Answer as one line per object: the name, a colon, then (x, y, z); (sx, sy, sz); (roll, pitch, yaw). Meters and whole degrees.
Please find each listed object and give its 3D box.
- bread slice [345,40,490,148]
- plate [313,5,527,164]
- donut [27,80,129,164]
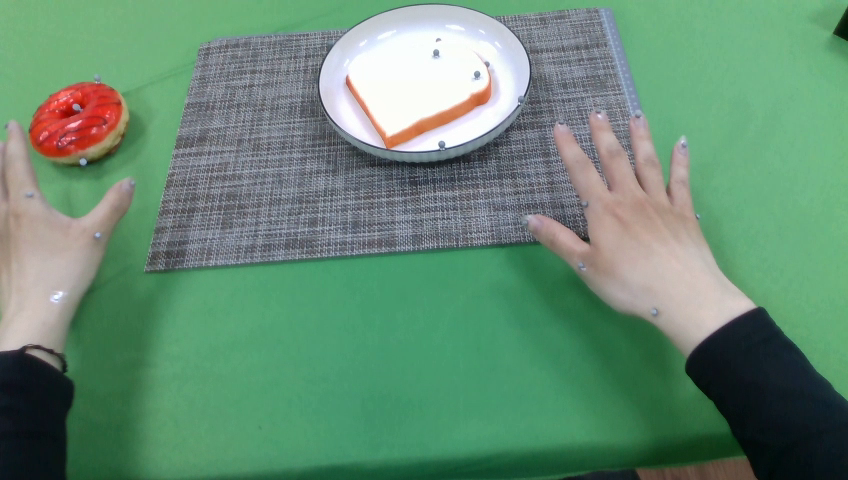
bread slice: (-0.003, -0.155, 0.604); (0.131, 0.019, 0.104); (-26, 60, -11)
plate: (-0.003, -0.152, 0.600); (0.207, 0.039, 0.205); (-2, 57, 3)
donut: (-0.347, -0.120, 0.609); (0.099, 0.049, 0.098); (-3, 58, 5)
